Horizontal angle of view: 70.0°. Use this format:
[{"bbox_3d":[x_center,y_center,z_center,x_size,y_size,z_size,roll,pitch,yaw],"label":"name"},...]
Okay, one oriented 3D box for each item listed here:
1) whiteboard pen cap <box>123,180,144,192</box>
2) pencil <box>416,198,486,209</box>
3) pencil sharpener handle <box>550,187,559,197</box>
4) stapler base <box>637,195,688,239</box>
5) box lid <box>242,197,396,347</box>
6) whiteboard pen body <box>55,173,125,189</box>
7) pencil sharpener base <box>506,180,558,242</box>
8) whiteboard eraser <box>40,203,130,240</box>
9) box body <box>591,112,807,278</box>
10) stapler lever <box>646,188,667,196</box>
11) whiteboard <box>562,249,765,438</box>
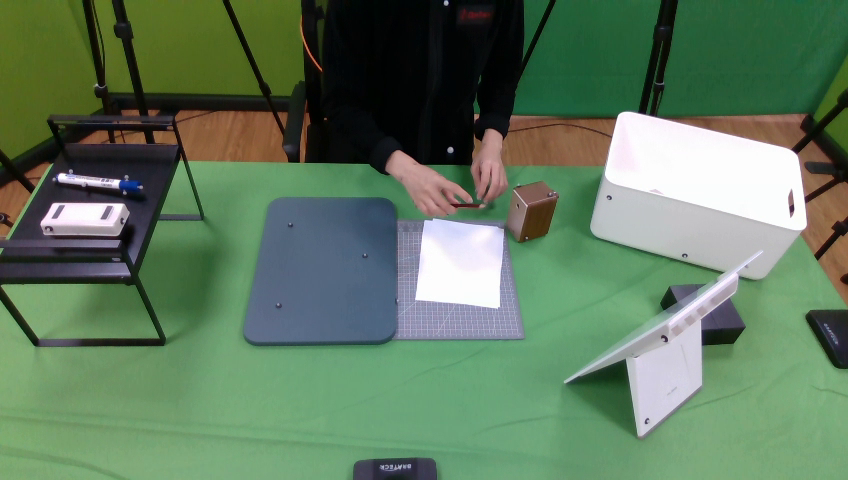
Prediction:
[{"bbox_3d":[-0.479,-0.089,0.993,0.033,0.018,0.018,7,46,14],"label":"whiteboard pen cap"},{"bbox_3d":[0.049,-0.069,1.151,0.012,0.012,0.193,-35,27,-31],"label":"pencil"},{"bbox_3d":[0.261,-0.084,1.221,0.031,0.068,0.036,-16,66,-19],"label":"pencil sharpener handle"},{"bbox_3d":[0.507,-0.055,1.280,0.041,0.024,0.129,-14,47,-19],"label":"stapler base"},{"bbox_3d":[-0.186,0.046,1.147,0.263,0.015,0.369,0,46,-3],"label":"box lid"},{"bbox_3d":[-0.539,-0.095,0.998,0.141,0.017,0.017,6,46,6],"label":"whiteboard pen body"},{"bbox_3d":[0.216,-0.059,1.211,0.077,0.107,0.061,-16,49,-19],"label":"pencil sharpener base"},{"bbox_3d":[-0.513,-0.028,0.922,0.113,0.042,0.055,1,48,-3],"label":"whiteboard eraser"},{"bbox_3d":[0.540,-0.092,1.229,0.363,0.161,0.253,16,47,11],"label":"box body"},{"bbox_3d":[0.507,-0.075,1.262,0.027,0.040,0.117,-14,46,-19],"label":"stapler lever"},{"bbox_3d":[0.386,0.175,0.905,0.217,0.306,0.143,-26,72,-26],"label":"whiteboard"}]
